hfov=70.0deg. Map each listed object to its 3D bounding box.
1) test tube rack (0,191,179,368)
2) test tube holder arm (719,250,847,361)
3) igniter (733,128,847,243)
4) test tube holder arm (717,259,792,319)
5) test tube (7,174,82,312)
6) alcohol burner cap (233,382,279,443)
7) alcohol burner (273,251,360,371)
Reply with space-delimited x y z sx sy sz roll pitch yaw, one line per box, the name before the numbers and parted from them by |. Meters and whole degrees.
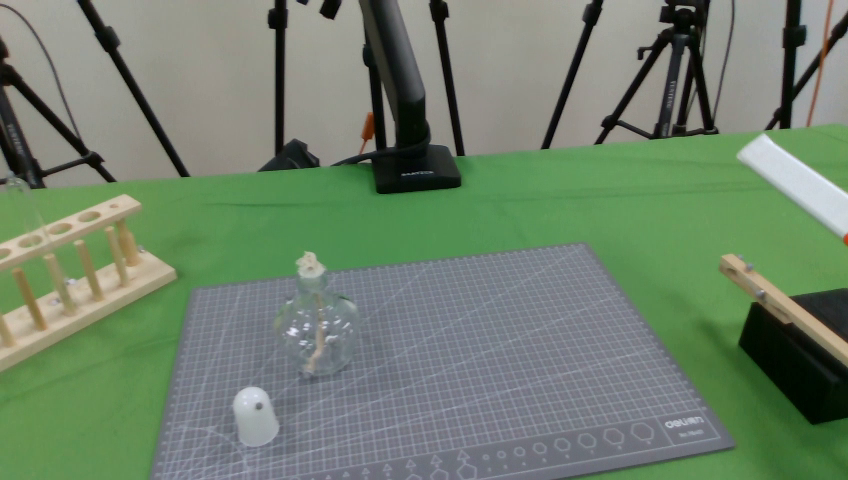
test tube rack | -0.374 0.044 0.587 0.066 0.086 0.242 24 41 32
test tube holder arm | 0.316 0.059 0.515 0.015 0.013 0.176 -16 34 -9
igniter | 0.329 -0.004 0.447 0.057 0.025 0.273 -42 40 16
test tube holder arm | 0.304 0.042 0.555 0.015 0.010 0.087 -16 34 -10
test tube | -0.350 0.007 0.562 0.017 0.151 0.017 0 35 1
alcohol burner cap | -0.135 0.134 0.483 0.034 0.048 0.033 0 34 0
alcohol burner | -0.096 0.057 0.532 0.078 0.120 0.077 1 35 0
